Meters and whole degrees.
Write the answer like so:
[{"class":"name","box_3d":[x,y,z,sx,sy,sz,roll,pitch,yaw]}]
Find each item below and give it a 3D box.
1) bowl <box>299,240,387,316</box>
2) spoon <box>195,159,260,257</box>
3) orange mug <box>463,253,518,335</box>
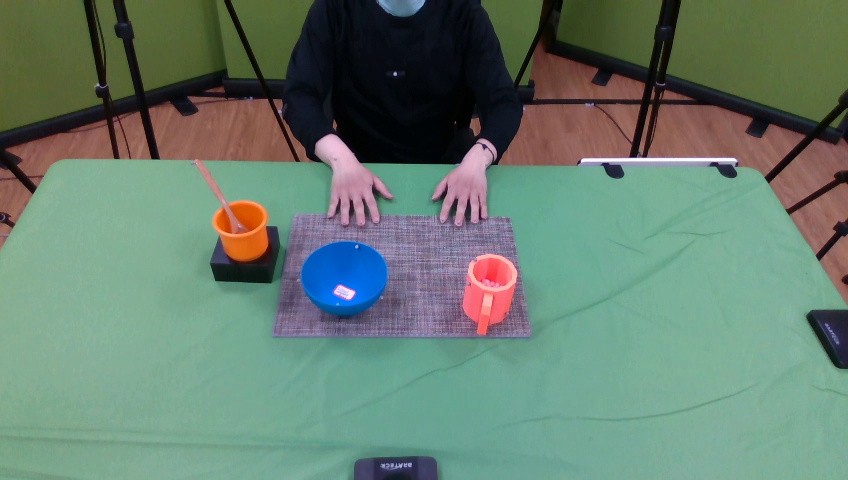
[{"class":"bowl","box_3d":[-0.139,0.081,1.064,0.151,0.077,0.150,2,46,-2]},{"class":"spoon","box_3d":[-0.348,-0.057,1.069,0.041,0.194,0.021,-31,12,-26]},{"class":"orange mug","box_3d":[0.112,0.098,1.050,0.083,0.101,0.125,10,42,6]}]
